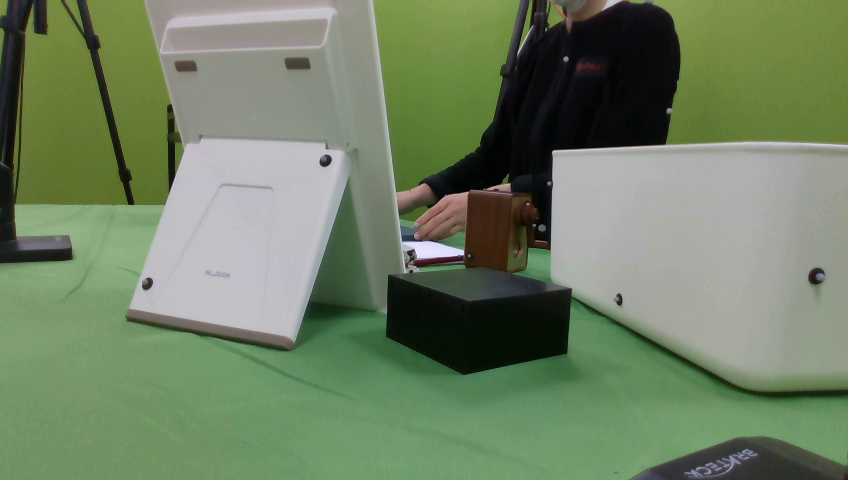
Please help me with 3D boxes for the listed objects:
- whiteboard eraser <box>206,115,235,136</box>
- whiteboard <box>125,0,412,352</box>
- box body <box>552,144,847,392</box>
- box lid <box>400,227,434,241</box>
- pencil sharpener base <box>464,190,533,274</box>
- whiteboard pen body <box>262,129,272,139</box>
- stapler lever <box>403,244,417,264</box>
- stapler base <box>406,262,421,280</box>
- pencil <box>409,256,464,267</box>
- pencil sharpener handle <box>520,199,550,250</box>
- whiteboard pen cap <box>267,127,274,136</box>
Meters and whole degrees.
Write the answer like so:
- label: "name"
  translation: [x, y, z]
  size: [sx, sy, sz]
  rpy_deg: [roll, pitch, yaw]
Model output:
- label: "whiteboard eraser"
  translation: [-0.444, -0.250, 1.322]
  size: [0.056, 0.042, 0.112]
  rpy_deg: [-1, 8, -15]
- label: "whiteboard"
  translation: [-0.151, -0.050, 0.471]
  size: [0.216, 0.305, 0.144]
  rpy_deg: [6, 27, 24]
- label: "box body"
  translation: [0.290, 0.002, 0.549]
  size: [0.255, 0.160, 0.363]
  rpy_deg: [2, 7, -10]
- label: "box lid"
  translation: [-0.196, -0.015, 1.105]
  size: [0.373, 0.015, 0.262]
  rpy_deg: [-1, 7, -32]
- label: "pencil sharpener base"
  translation: [0.103, -0.012, 0.813]
  size: [0.076, 0.107, 0.061]
  rpy_deg: [8, 9, 36]
- label: "whiteboard pen body"
  translation: [-0.361, -0.245, 1.393]
  size: [0.017, 0.017, 0.140]
  rpy_deg: [0, 5, -20]
- label: "stapler lever"
  translation: [-0.066, 0.003, 0.755]
  size: [0.117, 0.040, 0.027]
  rpy_deg: [9, 13, 23]
- label: "stapler base"
  translation: [-0.069, 0.027, 0.759]
  size: [0.130, 0.024, 0.041]
  rpy_deg: [9, 13, 23]
- label: "pencil"
  translation: [0.041, 0.028, 0.850]
  size: [0.012, 0.012, 0.195]
  rpy_deg: [10, 10, 44]
- label: "pencil sharpener handle"
  translation: [0.147, -0.019, 0.785]
  size: [0.030, 0.068, 0.036]
  rpy_deg: [8, 25, 36]
- label: "whiteboard pen cap"
  translation: [-0.340, -0.239, 1.337]
  size: [0.018, 0.018, 0.033]
  rpy_deg: [1, -1, -15]
